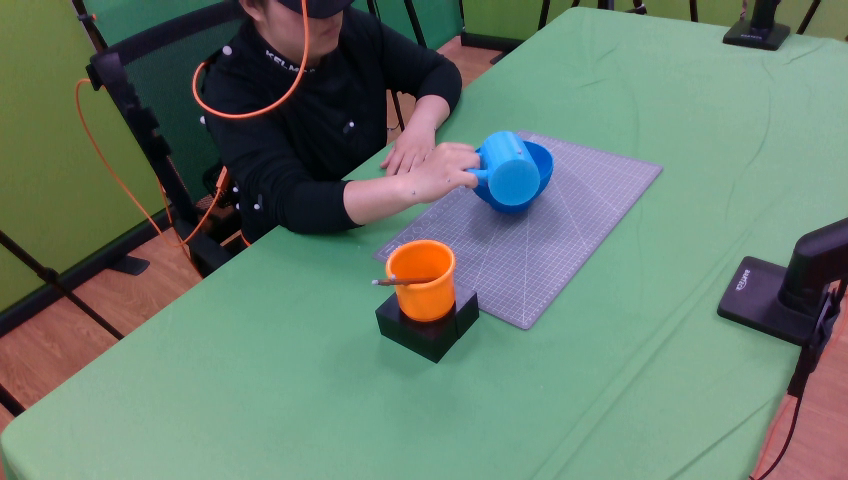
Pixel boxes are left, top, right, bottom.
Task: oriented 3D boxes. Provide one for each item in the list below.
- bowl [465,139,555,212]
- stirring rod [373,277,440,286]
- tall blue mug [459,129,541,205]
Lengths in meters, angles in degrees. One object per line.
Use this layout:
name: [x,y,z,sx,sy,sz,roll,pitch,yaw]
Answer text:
bowl: [0.145,-0.100,1.025,0.151,0.077,0.150,-5,40,5]
stirring rod: [-0.018,0.051,0.758,0.014,0.006,0.177,13,3,23]
tall blue mug: [0.115,-0.118,0.910,0.108,0.077,0.107,27,27,-20]
